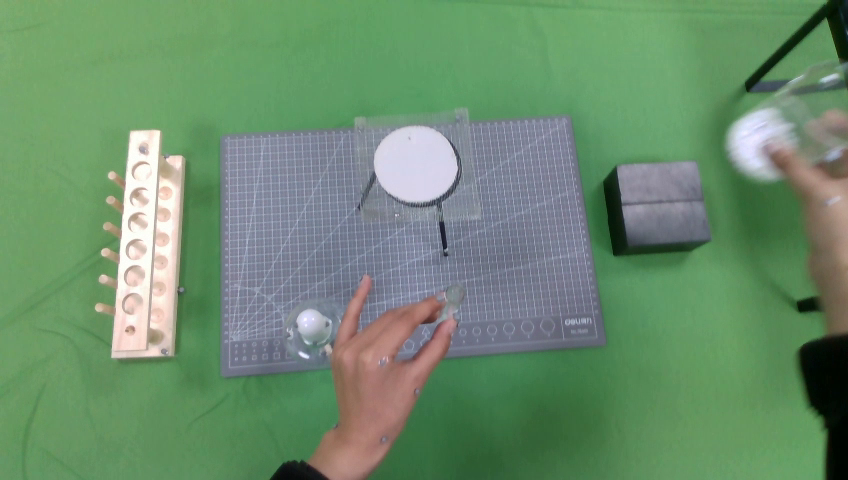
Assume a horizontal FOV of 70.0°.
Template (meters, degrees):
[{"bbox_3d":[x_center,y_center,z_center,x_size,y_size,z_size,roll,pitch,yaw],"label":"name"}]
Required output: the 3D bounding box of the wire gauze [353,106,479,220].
[{"bbox_3d":[-0.009,-0.079,0.624,0.125,0.011,0.121,-3,76,-4],"label":"wire gauze"}]

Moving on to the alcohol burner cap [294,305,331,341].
[{"bbox_3d":[-0.116,0.084,0.619,0.034,0.048,0.033,-1,69,2],"label":"alcohol burner cap"}]

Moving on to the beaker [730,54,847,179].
[{"bbox_3d":[0.318,-0.099,0.515,0.084,0.100,0.073,11,75,-5],"label":"beaker"}]

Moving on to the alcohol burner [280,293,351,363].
[{"bbox_3d":[-0.118,0.093,0.654,0.078,0.119,0.077,1,75,-5],"label":"alcohol burner"}]

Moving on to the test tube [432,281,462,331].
[{"bbox_3d":[0.019,0.062,0.538,0.017,0.151,0.017,1,72,-2],"label":"test tube"}]

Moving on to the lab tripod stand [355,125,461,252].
[{"bbox_3d":[-0.009,-0.066,0.690,0.148,0.132,0.147,1,73,-2],"label":"lab tripod stand"}]

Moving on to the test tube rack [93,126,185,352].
[{"bbox_3d":[-0.323,0.001,0.683,0.067,0.085,0.241,-1,76,-3],"label":"test tube rack"}]
